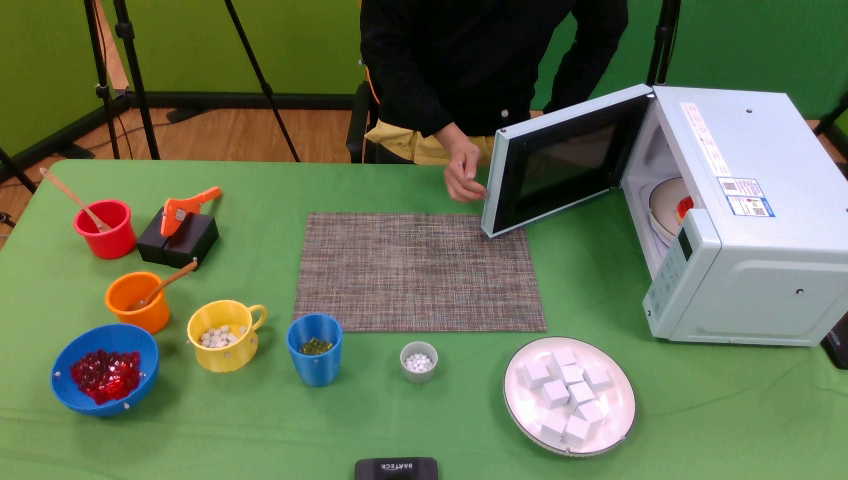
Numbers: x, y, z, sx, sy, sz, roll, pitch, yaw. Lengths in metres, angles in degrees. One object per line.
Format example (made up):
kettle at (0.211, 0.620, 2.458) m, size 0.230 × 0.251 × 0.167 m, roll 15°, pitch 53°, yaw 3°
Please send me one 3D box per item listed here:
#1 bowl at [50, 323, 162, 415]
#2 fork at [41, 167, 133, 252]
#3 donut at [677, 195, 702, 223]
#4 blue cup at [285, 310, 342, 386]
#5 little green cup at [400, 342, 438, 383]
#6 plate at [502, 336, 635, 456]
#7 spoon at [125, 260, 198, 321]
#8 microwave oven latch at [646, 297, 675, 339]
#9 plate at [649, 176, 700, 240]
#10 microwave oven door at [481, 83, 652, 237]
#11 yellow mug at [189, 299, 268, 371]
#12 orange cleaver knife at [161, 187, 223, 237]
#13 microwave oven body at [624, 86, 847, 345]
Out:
bowl at (-0.472, 0.209, 0.924) m, size 0.151 × 0.077 × 0.150 m, roll 2°, pitch 45°, yaw -2°
fork at (-0.624, -0.056, 1.121) m, size 0.208 × 0.018 × 0.028 m, roll 49°, pitch 52°, yaw -15°
donut at (0.539, -0.048, 1.170) m, size 0.099 × 0.048 × 0.098 m, roll 3°, pitch 45°, yaw -3°
blue cup at (-0.169, 0.179, 0.958) m, size 0.093 × 0.101 × 0.092 m, roll 1°, pitch 44°, yaw -1°
little green cup at (-0.010, 0.202, 0.991) m, size 0.061 × 0.039 × 0.061 m, roll 2°, pitch 47°, yaw -2°
plate at (0.225, 0.248, 0.963) m, size 0.208 × 0.039 × 0.206 m, roll 2°, pitch 46°, yaw -2°
spoon at (-0.435, 0.083, 1.000) m, size 0.022 × 0.194 × 0.041 m, roll 35°, pitch 34°, yaw -34°
microwave oven latch at (0.412, 0.134, 1.061) m, size 0.030 × 0.029 × 0.078 m, roll 4°, pitch 45°, yaw 1°
plate at (0.543, -0.045, 1.179) m, size 0.209 × 0.038 × 0.208 m, roll 1°, pitch 46°, yaw -1°
microwave oven door at (0.280, -0.159, 1.193) m, size 0.356 × 0.245 × 0.039 m, roll -22°, pitch 51°, yaw -23°
yellow mug at (-0.316, 0.148, 1.002) m, size 0.131 × 0.064 × 0.099 m, roll -32°, pitch 56°, yaw -31°
orange cleaver knife at (-0.448, -0.058, 1.181) m, size 0.012 × 0.077 × 0.211 m, roll 13°, pitch 17°, yaw 6°
microwave oven body at (0.567, -0.053, 1.118) m, size 0.326 × 0.261 × 0.439 m, roll 2°, pitch 45°, yaw -1°
